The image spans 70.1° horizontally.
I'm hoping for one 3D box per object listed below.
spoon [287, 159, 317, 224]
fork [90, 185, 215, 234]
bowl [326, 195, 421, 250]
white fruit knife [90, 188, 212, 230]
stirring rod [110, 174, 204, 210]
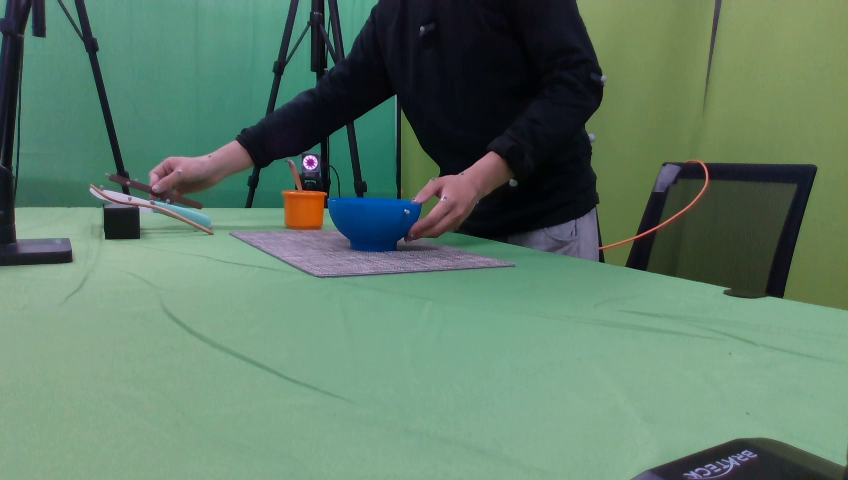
[{"bbox_3d":[-0.260,-0.104,1.263,0.042,0.021,0.193,0,52,-29],"label":"spoon"},{"bbox_3d":[-0.452,-0.049,1.018,0.208,0.018,0.028,21,-7,-33],"label":"fork"},{"bbox_3d":[-0.081,-0.027,0.958,0.151,0.077,0.151,2,7,0],"label":"bowl"},{"bbox_3d":[-0.478,-0.058,1.073,0.208,0.027,0.016,17,-4,-30],"label":"white fruit knife"},{"bbox_3d":[-0.501,-0.090,1.144,0.177,0.014,0.006,21,-20,-40],"label":"stirring rod"}]
